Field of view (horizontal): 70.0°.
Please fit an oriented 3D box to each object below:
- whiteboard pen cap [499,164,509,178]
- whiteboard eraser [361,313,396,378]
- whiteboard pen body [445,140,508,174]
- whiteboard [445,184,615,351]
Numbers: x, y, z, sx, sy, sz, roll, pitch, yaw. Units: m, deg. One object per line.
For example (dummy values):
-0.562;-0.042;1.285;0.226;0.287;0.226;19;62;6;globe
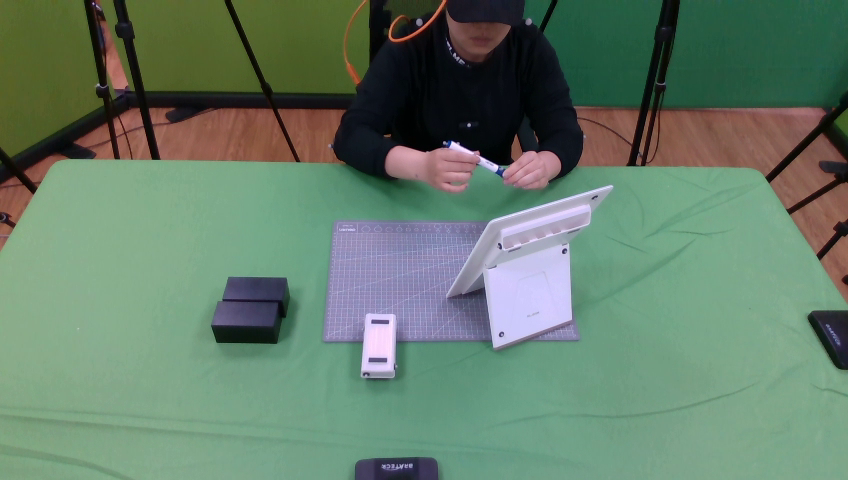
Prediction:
0.155;-0.133;1.178;0.018;0.033;0.018;-7;68;17;whiteboard pen cap
-0.075;0.176;1.006;0.055;0.042;0.112;3;50;-4;whiteboard eraser
0.102;-0.155;1.154;0.141;0.017;0.017;24;43;-20;whiteboard pen body
0.187;0.065;0.989;0.217;0.306;0.143;-15;68;-18;whiteboard
